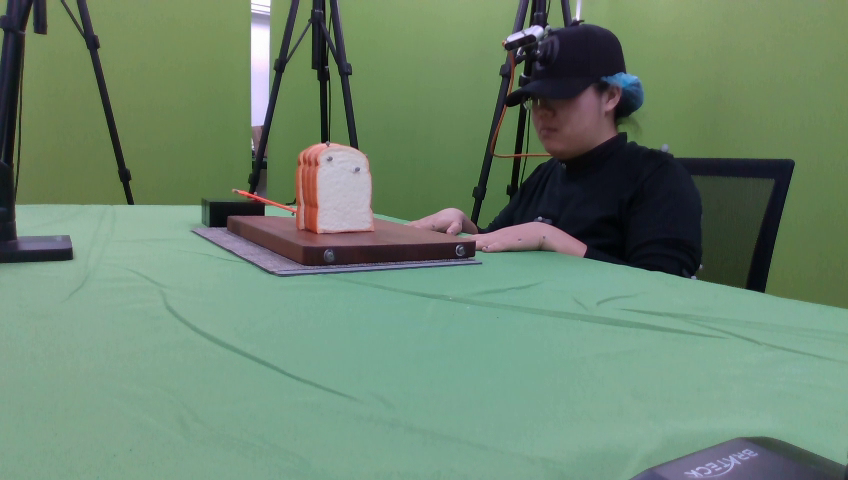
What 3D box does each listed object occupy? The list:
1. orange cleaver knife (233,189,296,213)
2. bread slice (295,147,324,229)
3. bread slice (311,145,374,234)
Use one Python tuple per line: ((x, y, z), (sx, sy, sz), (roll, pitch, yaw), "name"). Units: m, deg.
((-0.279, -0.065, 1.219), (0.212, 0.012, 0.077), (20, -3, -21), "orange cleaver knife")
((-0.157, -0.082, 0.959), (0.105, 0.131, 0.019), (-1, -2, -43), "bread slice")
((-0.127, -0.076, 0.919), (0.107, 0.134, 0.018), (-8, 8, -41), "bread slice")
